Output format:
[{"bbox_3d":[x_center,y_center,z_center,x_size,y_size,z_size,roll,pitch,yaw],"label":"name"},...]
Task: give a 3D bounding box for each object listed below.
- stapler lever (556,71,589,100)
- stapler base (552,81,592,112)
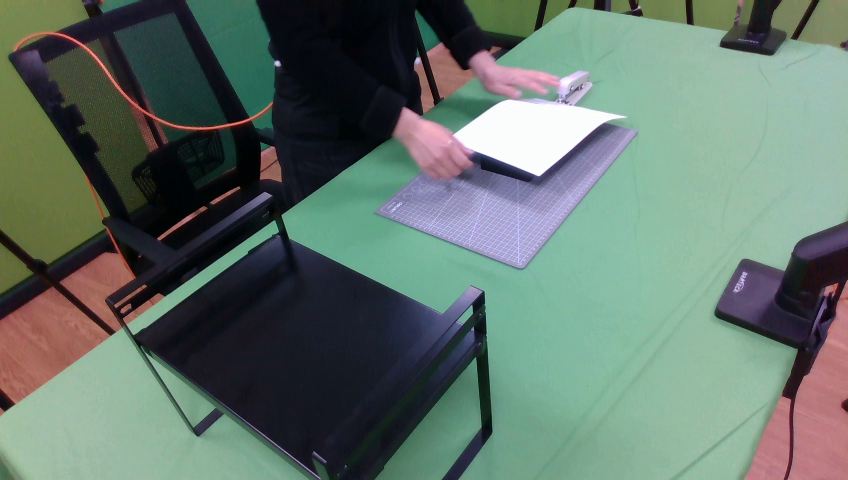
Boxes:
[{"bbox_3d":[0.315,-0.336,1.283,0.026,0.040,0.118,22,48,29],"label":"stapler lever"},{"bbox_3d":[0.318,-0.316,1.298,0.041,0.024,0.131,22,47,28],"label":"stapler base"}]
